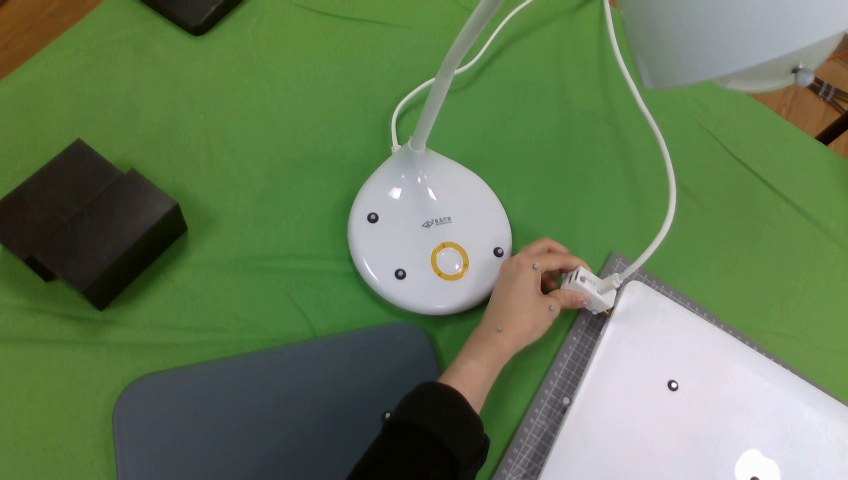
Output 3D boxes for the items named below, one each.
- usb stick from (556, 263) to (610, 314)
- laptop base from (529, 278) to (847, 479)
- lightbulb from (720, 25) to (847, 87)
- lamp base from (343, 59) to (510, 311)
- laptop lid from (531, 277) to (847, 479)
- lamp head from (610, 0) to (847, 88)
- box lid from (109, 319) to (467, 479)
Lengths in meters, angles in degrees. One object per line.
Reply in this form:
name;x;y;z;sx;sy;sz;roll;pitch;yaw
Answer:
usb stick;0.155;0.049;0.570;0.059;0.027;0.021;36;48;-16
laptop base;0.288;0.216;0.552;0.354;0.023;0.234;31;68;1
lightbulb;0.137;-0.114;0.232;0.060;0.059;0.108;-6;108;-15
lamp base;0.012;-0.049;0.509;0.161;0.181;0.178;-25;72;-21
laptop lid;0.289;0.213;0.540;0.356;0.013;0.241;33;67;2
lamp head;0.113;-0.135;0.234;0.112;0.112;0.123;-35;102;-23
box lid;-0.081;0.252;0.458;0.264;0.015;0.369;-10;72;-16
